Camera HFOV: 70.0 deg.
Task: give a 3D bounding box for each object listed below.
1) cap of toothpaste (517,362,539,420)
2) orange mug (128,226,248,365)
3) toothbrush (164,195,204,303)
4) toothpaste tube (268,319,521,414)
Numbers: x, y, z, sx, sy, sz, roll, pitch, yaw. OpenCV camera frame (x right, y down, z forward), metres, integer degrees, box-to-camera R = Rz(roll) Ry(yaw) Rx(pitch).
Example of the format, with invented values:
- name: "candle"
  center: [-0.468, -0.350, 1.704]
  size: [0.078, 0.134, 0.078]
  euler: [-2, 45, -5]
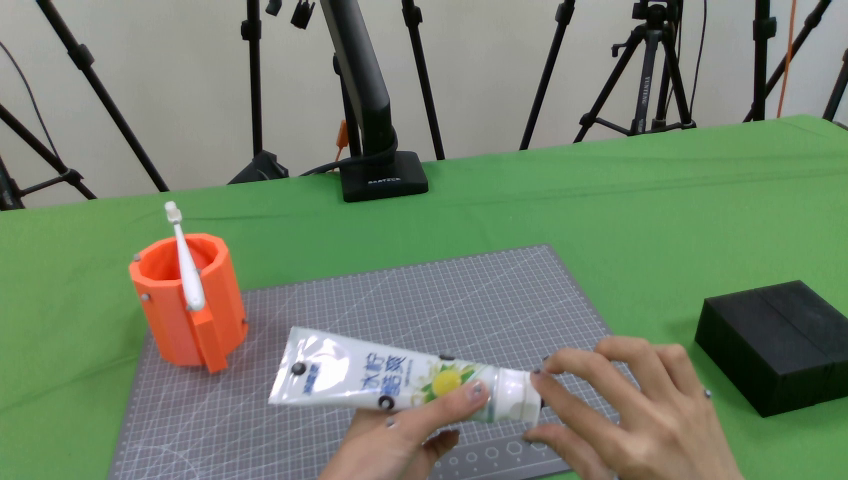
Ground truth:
- name: "cap of toothpaste"
  center: [0.065, 0.094, 0.380]
  size: [0.011, 0.037, 0.037]
  euler: [3, 34, 2]
- name: "orange mug"
  center: [-0.214, 0.056, 0.568]
  size: [0.083, 0.101, 0.125]
  euler: [-20, 34, -23]
- name: "toothbrush"
  center: [-0.221, 0.003, 0.553]
  size: [0.014, 0.017, 0.180]
  euler: [-14, 36, -22]
- name: "toothpaste tube"
  center: [-0.014, 0.084, 0.390]
  size: [0.165, 0.035, 0.054]
  euler: [6, 54, 6]
